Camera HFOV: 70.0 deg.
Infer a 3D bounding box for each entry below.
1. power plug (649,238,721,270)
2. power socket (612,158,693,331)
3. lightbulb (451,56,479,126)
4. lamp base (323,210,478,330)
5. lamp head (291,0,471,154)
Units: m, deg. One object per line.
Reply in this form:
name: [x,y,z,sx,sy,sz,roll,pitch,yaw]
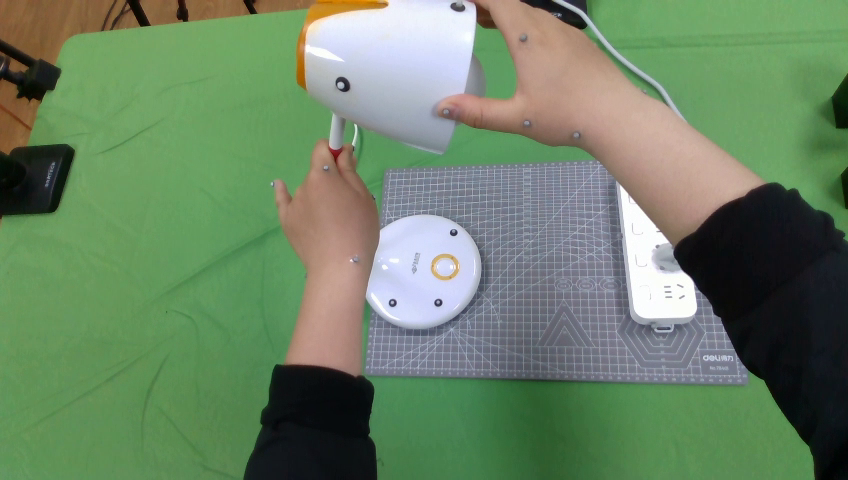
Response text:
power plug: [0.304,0.020,0.713,0.072,0.053,0.035,8,70,11]
power socket: [0.279,-0.002,0.748,0.072,0.033,0.225,-3,66,9]
lightbulb: [-0.012,-0.120,0.443,0.108,0.060,0.059,19,70,-6]
lamp base: [-0.037,0.011,0.724,0.179,0.182,0.159,-6,66,12]
lamp head: [-0.035,-0.125,0.448,0.123,0.113,0.111,7,68,-4]
